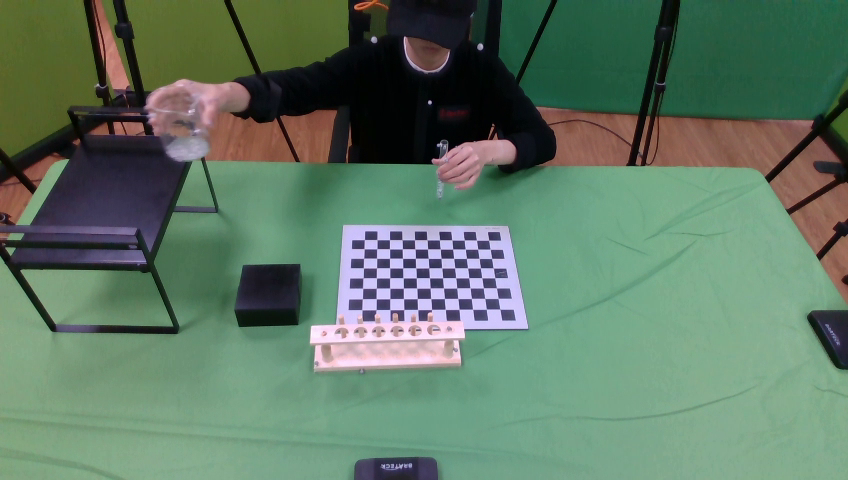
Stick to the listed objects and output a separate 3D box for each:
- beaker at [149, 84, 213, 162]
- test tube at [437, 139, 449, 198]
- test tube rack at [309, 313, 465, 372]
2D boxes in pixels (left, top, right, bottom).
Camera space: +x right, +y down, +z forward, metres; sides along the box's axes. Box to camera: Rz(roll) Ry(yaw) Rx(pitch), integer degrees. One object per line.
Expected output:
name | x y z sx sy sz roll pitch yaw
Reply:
beaker | -0.372 -0.178 0.942 0.074 0.101 0.083 -34 57 -31
test tube | 0.037 -0.137 1.191 0.017 0.151 0.017 1 50 -2
test tube rack | -0.059 0.161 0.990 0.242 0.085 0.066 -1 46 -5
